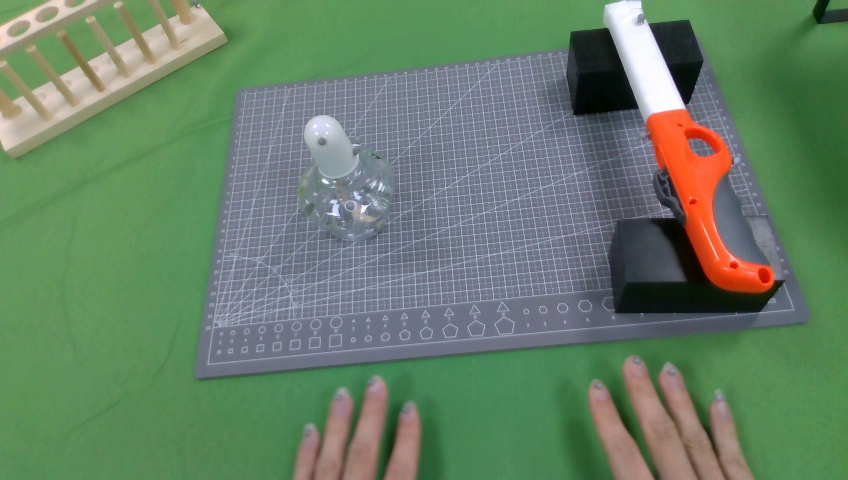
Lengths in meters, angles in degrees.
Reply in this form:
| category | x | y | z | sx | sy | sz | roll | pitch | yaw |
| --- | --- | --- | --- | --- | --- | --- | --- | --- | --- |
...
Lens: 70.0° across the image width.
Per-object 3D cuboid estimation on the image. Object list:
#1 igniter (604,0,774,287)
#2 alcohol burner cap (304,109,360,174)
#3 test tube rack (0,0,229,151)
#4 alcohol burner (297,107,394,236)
| category | x | y | z | sx | sy | sz | roll | pitch | yaw |
| --- | --- | --- | --- | --- | --- | --- | --- | --- | --- |
| igniter | 0.184 | -0.086 | 0.446 | 0.057 | 0.025 | 0.274 | -9 | 58 | 3 |
| alcohol burner cap | -0.068 | -0.074 | 0.437 | 0.034 | 0.048 | 0.033 | -5 | 62 | 9 |
| test tube rack | -0.330 | -0.195 | 0.602 | 0.242 | 0.086 | 0.066 | -34 | 61 | -12 |
| alcohol burner | -0.064 | -0.056 | 0.466 | 0.078 | 0.120 | 0.077 | -4 | 57 | 6 |
